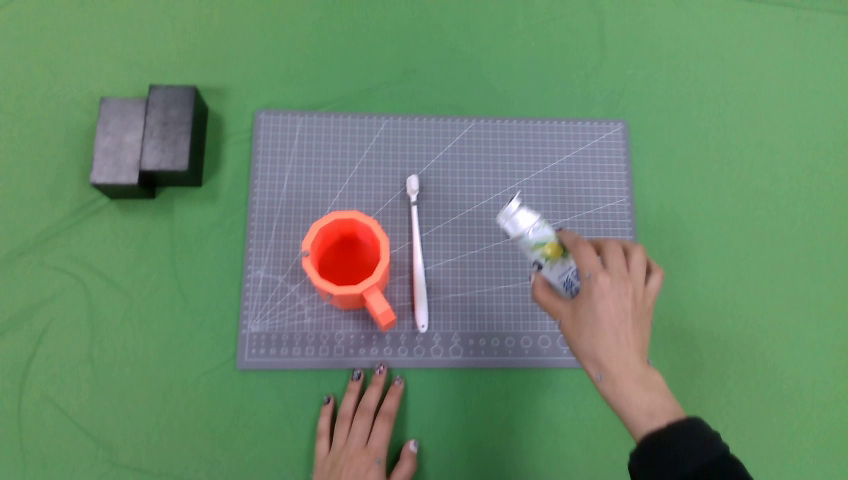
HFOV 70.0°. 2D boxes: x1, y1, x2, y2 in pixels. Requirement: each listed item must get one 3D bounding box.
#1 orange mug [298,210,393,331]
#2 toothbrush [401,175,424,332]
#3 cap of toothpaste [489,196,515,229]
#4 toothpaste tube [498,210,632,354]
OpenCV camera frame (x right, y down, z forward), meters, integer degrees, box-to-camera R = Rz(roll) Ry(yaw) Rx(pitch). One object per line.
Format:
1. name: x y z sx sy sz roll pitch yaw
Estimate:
1. orange mug: -0.073 0.038 0.632 0.083 0.101 0.125 -33 76 -11
2. toothbrush: -0.012 0.013 0.684 0.014 0.016 0.181 0 77 -19
3. cap of toothpaste: 0.076 -0.026 0.578 0.011 0.037 0.037 35 76 0
4. toothpaste tube: 0.131 0.035 0.587 0.055 0.034 0.165 -43 95 -1
